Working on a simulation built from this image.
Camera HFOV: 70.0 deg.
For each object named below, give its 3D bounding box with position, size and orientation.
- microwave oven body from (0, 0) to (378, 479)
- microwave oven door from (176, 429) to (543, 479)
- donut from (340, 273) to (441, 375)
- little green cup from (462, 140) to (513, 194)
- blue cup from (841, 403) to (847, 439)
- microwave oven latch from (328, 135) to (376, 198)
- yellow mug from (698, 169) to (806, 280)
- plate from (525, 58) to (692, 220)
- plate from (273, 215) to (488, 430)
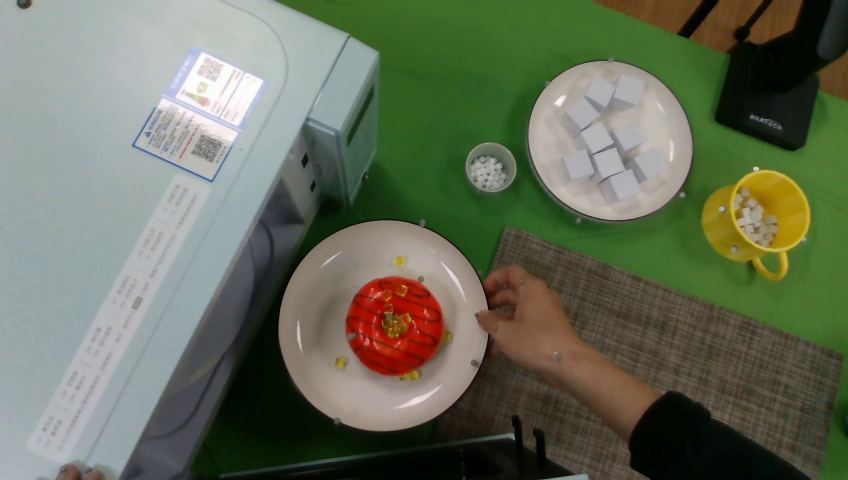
[{"bbox_3d":[-0.280,-0.010,0.563,0.326,0.260,0.440,24,79,-1],"label":"microwave oven body"},{"bbox_3d":[-0.063,0.222,0.537,0.356,0.244,0.039,-6,79,-7],"label":"microwave oven door"},{"bbox_3d":[-0.033,0.081,0.591,0.099,0.048,0.099,1,84,-6],"label":"donut"},{"bbox_3d":[0.074,-0.085,0.728,0.061,0.038,0.061,1,81,-6],"label":"little green cup"},{"bbox_3d":[0.539,0.212,0.688,0.093,0.100,0.092,2,78,-7],"label":"blue cup"},{"bbox_3d":[-0.083,-0.090,0.695,0.030,0.029,0.079,28,79,0],"label":"microwave oven latch"},{"bbox_3d":[0.401,-0.015,0.735,0.100,0.064,0.130,-16,82,-8],"label":"yellow mug"},{"bbox_3d":[0.225,-0.123,0.751,0.208,0.039,0.206,1,79,-5],"label":"plate"},{"bbox_3d":[-0.042,0.080,0.602,0.209,0.038,0.208,1,81,-3],"label":"plate"}]
